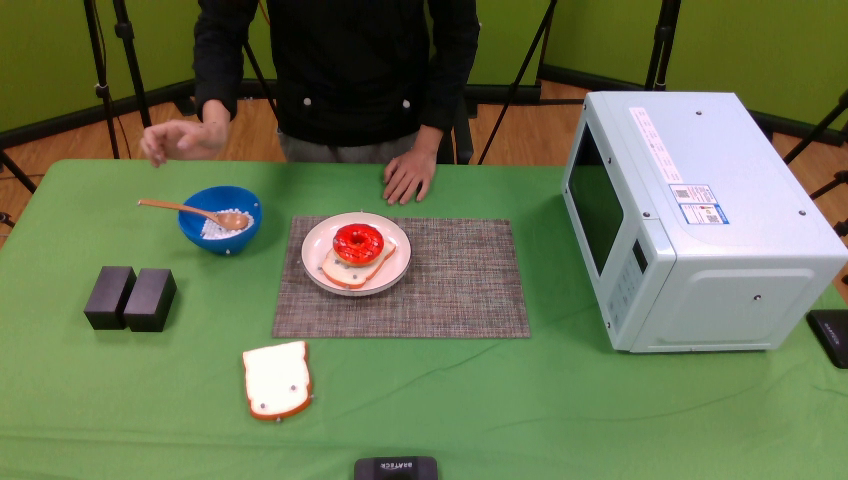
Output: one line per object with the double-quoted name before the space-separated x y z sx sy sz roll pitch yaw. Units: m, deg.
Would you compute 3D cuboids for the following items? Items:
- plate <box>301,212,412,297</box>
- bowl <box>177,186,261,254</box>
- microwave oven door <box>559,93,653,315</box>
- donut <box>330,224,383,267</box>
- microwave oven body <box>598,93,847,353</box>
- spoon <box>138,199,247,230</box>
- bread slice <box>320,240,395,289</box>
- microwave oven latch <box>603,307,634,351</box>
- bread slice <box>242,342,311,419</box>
"plate" -0.126 0.031 1.145 0.208 0.039 0.206 2 46 -2
"bowl" -0.383 -0.026 1.158 0.151 0.077 0.150 2 46 -2
"microwave oven door" 0.327 -0.074 1.123 0.039 0.245 0.353 -1 46 -5
"donut" -0.125 0.010 1.127 0.099 0.048 0.098 3 45 -3
"microwave oven body" 0.475 -0.041 1.109 0.326 0.261 0.438 -1 45 -4
"spoon" -0.431 -0.053 1.136 0.194 0.022 0.041 15 48 -20
"bread slice" -0.129 0.037 1.141 0.107 0.018 0.134 19 47 14
"microwave oven latch" 0.332 0.153 1.044 0.030 0.029 0.078 0 45 -4
"bread slice" -0.234 0.223 0.970 0.105 0.019 0.130 -10 46 -13
